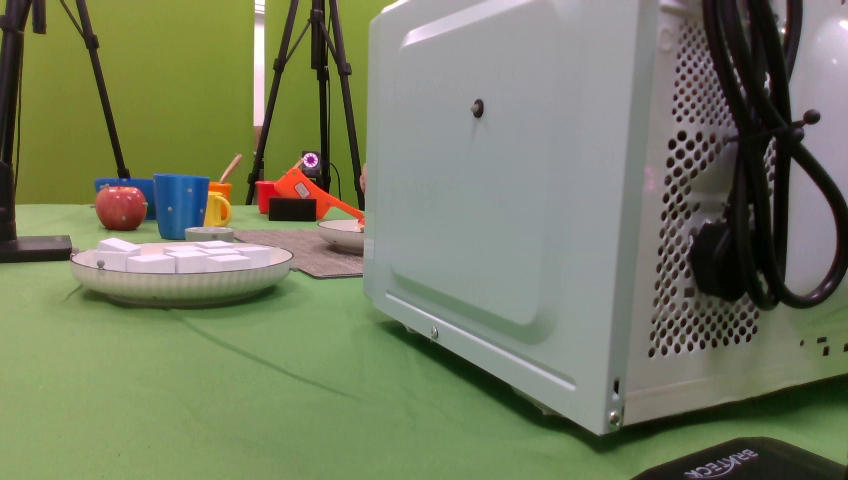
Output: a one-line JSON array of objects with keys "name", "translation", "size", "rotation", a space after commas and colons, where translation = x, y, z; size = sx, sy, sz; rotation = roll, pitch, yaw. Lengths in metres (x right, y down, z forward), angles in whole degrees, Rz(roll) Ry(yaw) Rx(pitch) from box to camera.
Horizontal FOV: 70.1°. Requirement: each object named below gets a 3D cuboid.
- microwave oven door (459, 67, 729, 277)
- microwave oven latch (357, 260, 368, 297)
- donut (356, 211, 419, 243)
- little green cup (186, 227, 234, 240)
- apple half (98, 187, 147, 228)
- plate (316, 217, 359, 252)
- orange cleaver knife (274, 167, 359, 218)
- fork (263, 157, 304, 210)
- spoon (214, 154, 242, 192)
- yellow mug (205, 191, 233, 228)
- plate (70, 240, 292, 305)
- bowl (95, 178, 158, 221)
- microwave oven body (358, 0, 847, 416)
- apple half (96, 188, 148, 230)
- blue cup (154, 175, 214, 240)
[{"name": "microwave oven door", "translation": [0.203, -0.096, 0.809], "size": [0.354, 0.243, 0.039], "rotation": [8, 10, 39]}, {"name": "microwave oven latch", "translation": [-0.019, 0.033, 0.531], "size": [0.079, 0.029, 0.030], "rotation": [-1, 7, -27]}, {"name": "donut", "translation": [-0.057, -0.019, 0.945], "size": [0.099, 0.048, 0.099], "rotation": [5, 6, 0]}, {"name": "little green cup", "translation": [-0.284, 0.005, 0.805], "size": [0.061, 0.038, 0.061], "rotation": [2, 8, 0]}, {"name": "apple half", "translation": [-0.534, -0.059, 1.071], "size": [0.082, 0.081, 0.032], "rotation": [-1, 11, -25]}, {"name": "plate", "translation": [-0.064, -0.007, 0.943], "size": [0.209, 0.038, 0.209], "rotation": [3, 8, 0]}, {"name": "orange cleaver knife", "translation": [-0.238, -0.091, 1.381], "size": [0.212, 0.077, 0.012], "rotation": [31, 0, -19]}, {"name": "fork", "translation": [-0.345, -0.143, 1.505], "size": [0.028, 0.019, 0.207], "rotation": [-4, 46, 29]}, {"name": "spoon", "translation": [-0.439, -0.124, 1.317], "size": [0.041, 0.193, 0.022], "rotation": [5, -36, 16]}, {"name": "yellow mug", "translation": [-0.415, -0.057, 1.132], "size": [0.130, 0.064, 0.100], "rotation": [6, 8, 16]}, {"name": "plate", "translation": [-0.242, 0.031, 0.618], "size": [0.208, 0.039, 0.207], "rotation": [2, 8, 0]}, {"name": "bowl", "translation": [-0.576, -0.081, 1.217], "size": [0.151, 0.077, 0.151], "rotation": [3, 8, 0]}, {"name": "microwave oven body", "translation": [0.211, -0.047, 0.474], "size": [0.444, 0.260, 0.324], "rotation": [-1, 8, -28]}, {"name": "apple half", "translation": [-0.517, -0.052, 1.036], "size": [0.081, 0.074, 0.053], "rotation": [2, 10, -26]}, {"name": "blue cup", "translation": [-0.390, -0.053, 0.978], "size": [0.093, 0.100, 0.092], "rotation": [3, 6, 0]}]
